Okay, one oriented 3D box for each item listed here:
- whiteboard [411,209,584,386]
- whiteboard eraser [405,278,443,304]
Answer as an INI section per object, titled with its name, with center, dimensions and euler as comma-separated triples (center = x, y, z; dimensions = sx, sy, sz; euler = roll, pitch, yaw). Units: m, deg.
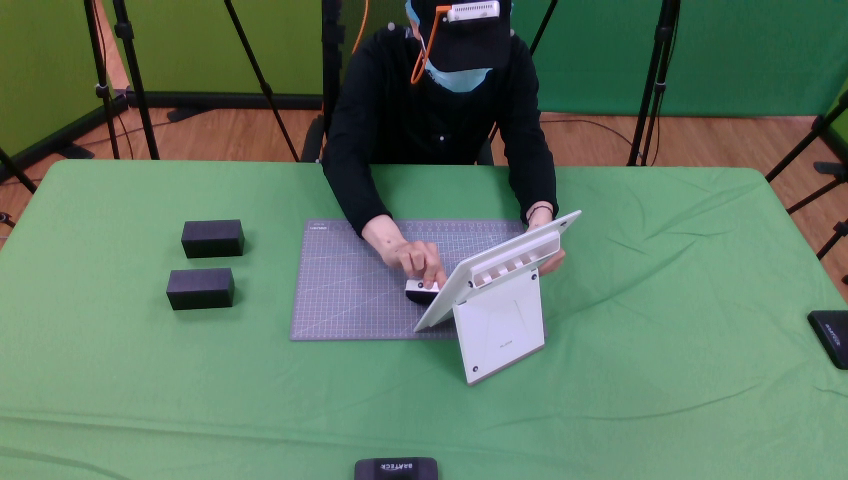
[whiteboard]
center = 0.134, 0.110, 0.944
dimensions = 0.217, 0.306, 0.143
euler = -21, 72, -23
[whiteboard eraser]
center = 0.027, 0.091, 1.056
dimensions = 0.112, 0.056, 0.041
euler = 1, 72, 15
